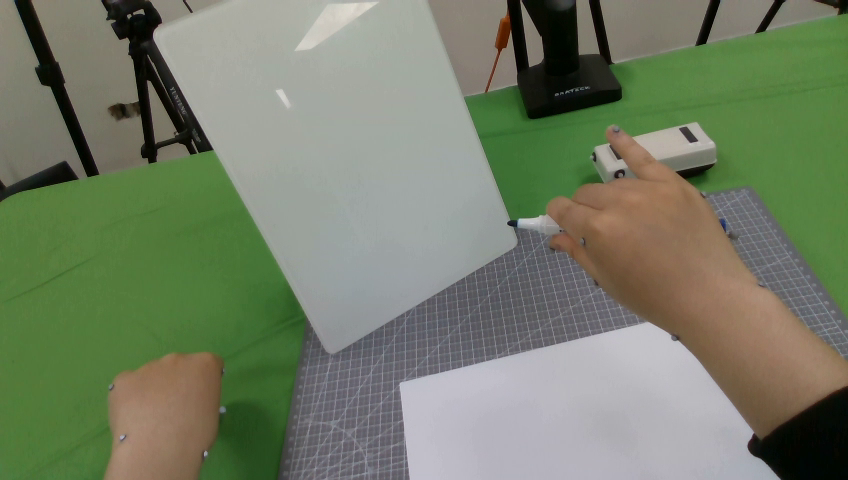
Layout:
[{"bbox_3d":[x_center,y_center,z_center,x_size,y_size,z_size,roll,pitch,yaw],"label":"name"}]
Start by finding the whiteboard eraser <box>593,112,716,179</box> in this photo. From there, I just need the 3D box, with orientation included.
[{"bbox_3d":[0.239,-0.096,0.632,0.112,0.042,0.055,-12,43,4],"label":"whiteboard eraser"}]

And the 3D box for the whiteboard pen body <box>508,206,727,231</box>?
[{"bbox_3d":[0.127,-0.015,0.409,0.140,0.017,0.017,1,44,16],"label":"whiteboard pen body"}]

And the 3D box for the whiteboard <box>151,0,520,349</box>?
[{"bbox_3d":[-0.077,-0.097,0.581,0.217,0.307,0.142,-29,22,-14],"label":"whiteboard"}]

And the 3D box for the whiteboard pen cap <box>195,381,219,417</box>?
[{"bbox_3d":[-0.185,0.136,0.517,0.018,0.033,0.018,5,39,-4],"label":"whiteboard pen cap"}]
